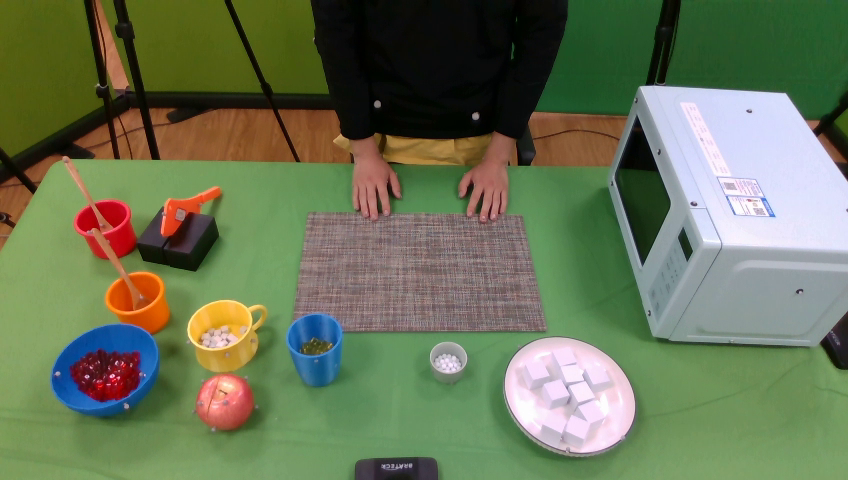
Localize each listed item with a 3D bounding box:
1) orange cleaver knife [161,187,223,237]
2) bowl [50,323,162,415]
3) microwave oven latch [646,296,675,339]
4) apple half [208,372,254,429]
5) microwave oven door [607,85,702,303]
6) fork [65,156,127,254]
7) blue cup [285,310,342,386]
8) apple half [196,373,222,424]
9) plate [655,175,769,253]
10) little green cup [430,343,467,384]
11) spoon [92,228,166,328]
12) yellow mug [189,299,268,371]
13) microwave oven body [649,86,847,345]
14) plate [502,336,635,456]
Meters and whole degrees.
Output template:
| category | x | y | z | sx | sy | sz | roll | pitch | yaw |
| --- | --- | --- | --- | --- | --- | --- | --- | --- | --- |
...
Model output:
| category | x | y | z | sx | sy | sz | roll | pitch | yaw |
| --- | --- | --- | --- | --- | --- | --- | --- | --- | --- |
| orange cleaver knife | -0.448 | -0.058 | 1.180 | 0.012 | 0.077 | 0.211 | 13 | 17 | 6 |
| bowl | -0.472 | 0.209 | 0.924 | 0.151 | 0.077 | 0.150 | 3 | 45 | -2 |
| microwave oven latch | 0.412 | 0.134 | 1.061 | 0.030 | 0.029 | 0.078 | 4 | 45 | 1 |
| apple half | -0.283 | 0.244 | 0.908 | 0.053 | 0.075 | 0.080 | 7 | 42 | -1 |
| microwave oven door | 0.423 | -0.094 | 1.140 | 0.039 | 0.245 | 0.353 | 2 | 46 | -1 |
| fork | -0.614 | -0.064 | 1.130 | 0.028 | 0.018 | 0.207 | -29 | 97 | -16 |
| blue cup | -0.170 | 0.179 | 0.958 | 0.093 | 0.101 | 0.092 | 1 | 44 | -1 |
| apple half | -0.322 | 0.239 | 0.907 | 0.033 | 0.081 | 0.081 | 7 | 46 | -1 |
| plate | 0.555 | -0.047 | 1.183 | 0.209 | 0.038 | 0.208 | 1 | 46 | -1 |
| little green cup | 0.039 | 0.203 | 0.994 | 0.061 | 0.039 | 0.061 | 2 | 46 | -2 |
| spoon | -0.495 | 0.063 | 1.014 | 0.041 | 0.194 | 0.021 | -34 | 12 | -31 |
| yellow mug | -0.316 | 0.148 | 1.002 | 0.131 | 0.064 | 0.099 | -32 | 56 | -32 |
| microwave oven body | 0.568 | -0.053 | 1.118 | 0.326 | 0.261 | 0.439 | 2 | 45 | -1 |
| plate | 0.225 | 0.248 | 0.963 | 0.208 | 0.039 | 0.206 | 2 | 46 | -2 |
